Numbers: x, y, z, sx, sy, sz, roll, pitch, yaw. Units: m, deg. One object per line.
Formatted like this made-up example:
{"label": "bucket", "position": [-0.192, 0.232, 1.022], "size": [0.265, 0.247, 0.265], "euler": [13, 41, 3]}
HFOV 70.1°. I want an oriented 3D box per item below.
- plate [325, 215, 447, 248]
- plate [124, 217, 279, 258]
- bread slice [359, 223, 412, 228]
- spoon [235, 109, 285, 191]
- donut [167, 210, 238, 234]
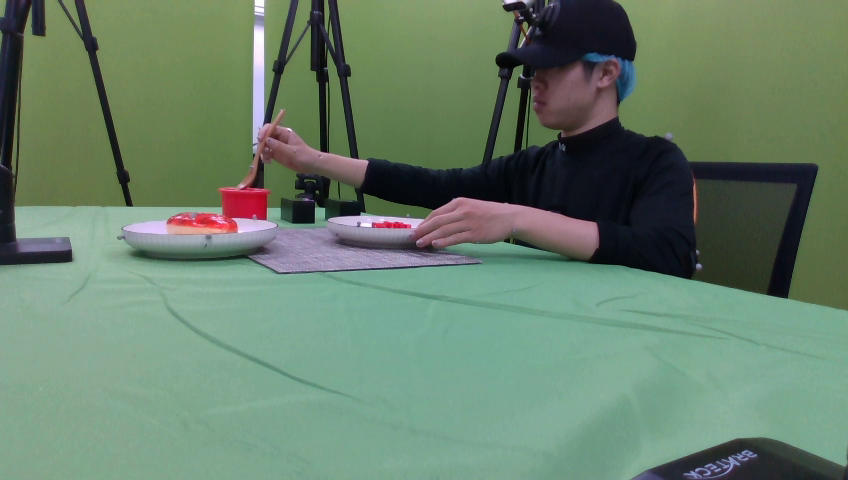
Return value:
{"label": "plate", "position": [-0.065, -0.015, 1.035], "size": [0.209, 0.038, 0.209], "euler": [3, 8, 0]}
{"label": "plate", "position": [-0.315, -0.004, 0.871], "size": [0.208, 0.039, 0.207], "euler": [1, 8, 0]}
{"label": "bread slice", "position": [-0.062, -0.013, 1.034], "size": [0.105, 0.019, 0.131], "euler": [0, 9, -19]}
{"label": "spoon", "position": [-0.321, -0.179, 1.194], "size": [0.022, 0.193, 0.041], "euler": [29, -13, -33]}
{"label": "donut", "position": [-0.321, -0.017, 0.882], "size": [0.099, 0.048, 0.099], "euler": [3, 6, 0]}
